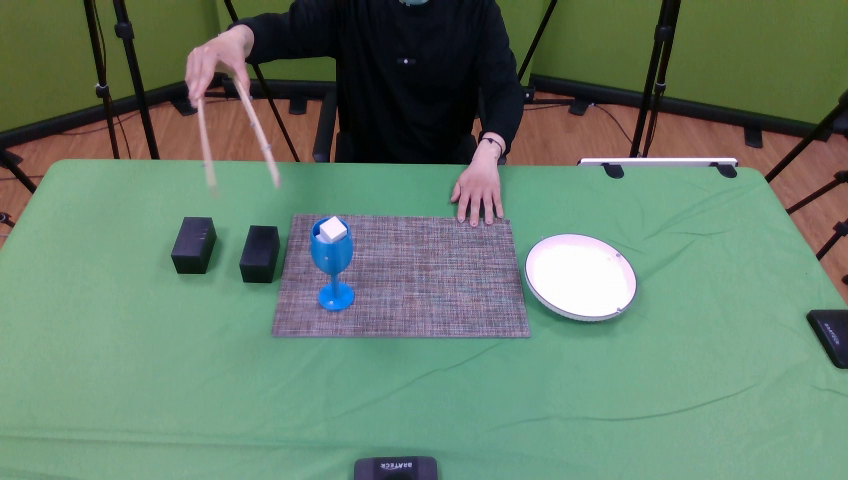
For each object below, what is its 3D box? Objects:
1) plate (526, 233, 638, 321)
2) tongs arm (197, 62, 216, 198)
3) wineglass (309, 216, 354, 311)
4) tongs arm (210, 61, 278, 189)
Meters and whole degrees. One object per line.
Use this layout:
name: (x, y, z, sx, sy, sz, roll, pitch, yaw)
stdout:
plate: (0.292, 0.071, 1.135, 0.209, 0.038, 0.208, 2, 46, -2)
tongs arm: (-0.359, -0.196, 1.008, 0.028, 0.028, 0.384, -12, 45, -12)
wineglass: (-0.156, 0.043, 1.032, 0.074, 0.173, 0.073, 2, 46, -2)
tongs arm: (-0.310, -0.206, 1.025, 0.051, 0.026, 0.382, -13, 46, -17)
